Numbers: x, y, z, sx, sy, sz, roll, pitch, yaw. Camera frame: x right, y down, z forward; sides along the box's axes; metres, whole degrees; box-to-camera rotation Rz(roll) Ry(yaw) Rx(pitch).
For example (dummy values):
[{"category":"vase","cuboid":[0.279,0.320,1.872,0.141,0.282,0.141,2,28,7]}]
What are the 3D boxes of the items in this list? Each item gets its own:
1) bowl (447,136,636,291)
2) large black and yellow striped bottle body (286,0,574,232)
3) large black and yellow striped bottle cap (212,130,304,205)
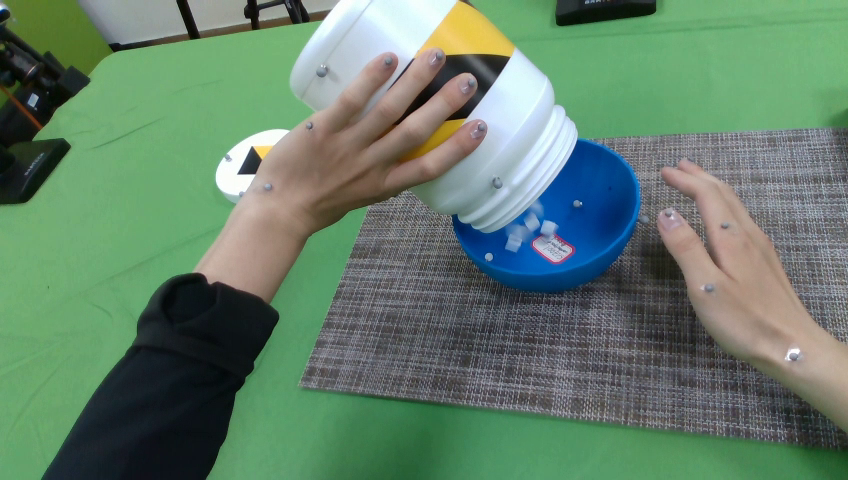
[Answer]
[{"category":"bowl","cuboid":[0.101,-0.010,0.512,0.151,0.077,0.150,-10,49,12]},{"category":"large black and yellow striped bottle body","cuboid":[0.008,-0.103,0.448,0.131,0.185,0.130,-47,14,16]},{"category":"large black and yellow striped bottle cap","cuboid":[-0.203,-0.090,0.739,0.115,0.019,0.114,-9,49,11]}]
